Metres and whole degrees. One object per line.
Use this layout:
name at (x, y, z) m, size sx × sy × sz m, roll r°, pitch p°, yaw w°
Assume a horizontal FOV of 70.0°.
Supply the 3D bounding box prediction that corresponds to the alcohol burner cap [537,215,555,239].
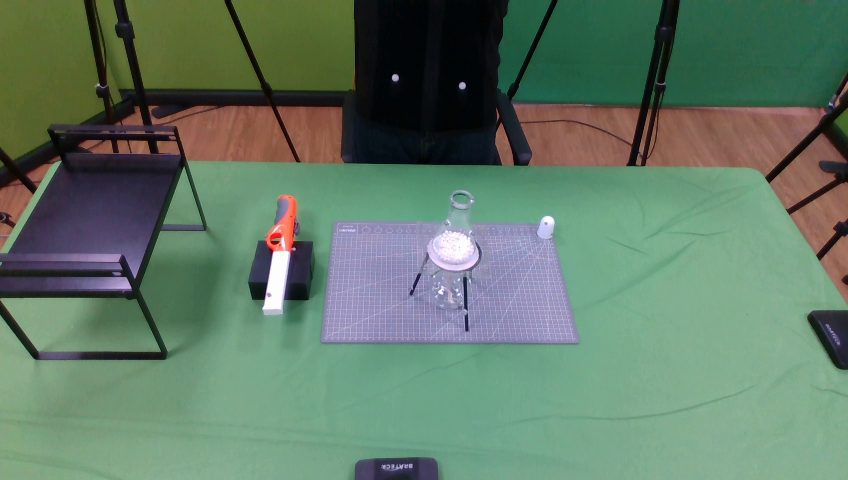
alcohol burner cap at (0.250, -0.029, 1.228) m, size 0.034 × 0.048 × 0.033 m, roll 1°, pitch 48°, yaw -1°

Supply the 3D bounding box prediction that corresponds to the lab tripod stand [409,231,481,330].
lab tripod stand at (0.051, 0.064, 1.060) m, size 0.148 × 0.132 × 0.147 m, roll 4°, pitch 46°, yaw -4°

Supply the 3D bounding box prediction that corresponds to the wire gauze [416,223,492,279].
wire gauze at (0.048, 0.016, 1.014) m, size 0.125 × 0.011 × 0.120 m, roll 1°, pitch 45°, yaw -1°

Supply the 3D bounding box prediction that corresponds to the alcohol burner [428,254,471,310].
alcohol burner at (0.046, 0.068, 1.069) m, size 0.078 × 0.119 × 0.077 m, roll 3°, pitch 45°, yaw -3°

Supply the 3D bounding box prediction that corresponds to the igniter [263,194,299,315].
igniter at (-0.259, 0.016, 1.093) m, size 0.057 × 0.025 × 0.274 m, roll -3°, pitch 49°, yaw -2°

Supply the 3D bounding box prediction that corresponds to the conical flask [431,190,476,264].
conical flask at (0.052, -0.025, 0.971) m, size 0.075 × 0.122 × 0.075 m, roll 3°, pitch 48°, yaw -3°
